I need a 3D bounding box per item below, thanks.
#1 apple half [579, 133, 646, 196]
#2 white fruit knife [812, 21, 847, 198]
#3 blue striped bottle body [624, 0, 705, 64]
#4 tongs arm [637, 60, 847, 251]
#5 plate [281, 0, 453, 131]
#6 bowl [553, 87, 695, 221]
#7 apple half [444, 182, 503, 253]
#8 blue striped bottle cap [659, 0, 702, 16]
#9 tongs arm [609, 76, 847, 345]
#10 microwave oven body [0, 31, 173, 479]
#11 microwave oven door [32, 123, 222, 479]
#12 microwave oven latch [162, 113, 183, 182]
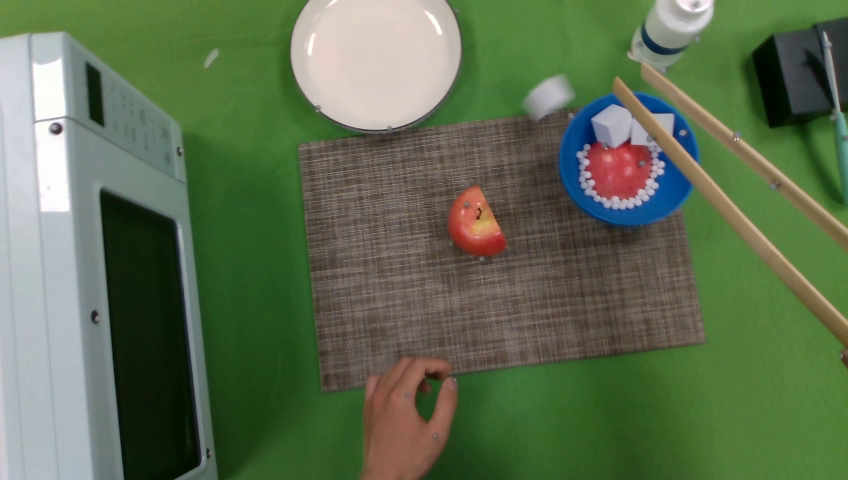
[{"bbox_3d":[0.219,-0.089,0.688,0.081,0.033,0.081,0,82,2],"label":"apple half"},{"bbox_3d":[0.468,-0.146,0.694,0.016,0.027,0.208,-15,99,17],"label":"white fruit knife"},{"bbox_3d":[0.277,-0.255,0.695,0.063,0.121,0.063,0,82,2],"label":"blue striped bottle body"},{"bbox_3d":[0.294,-0.022,0.495,0.051,0.027,0.381,-37,63,-4],"label":"tongs arm"},{"bbox_3d":[-0.068,-0.230,0.742,0.208,0.039,0.207,0,83,1],"label":"plate"},{"bbox_3d":[0.218,-0.089,0.693,0.151,0.077,0.151,0,82,2],"label":"bowl"},{"bbox_3d":[0.050,-0.019,0.691,0.053,0.075,0.080,-28,86,2],"label":"apple half"},{"bbox_3d":[0.275,-0.264,0.644,0.044,0.020,0.044,0,85,1],"label":"blue striped bottle cap"},{"bbox_3d":[0.275,-0.009,0.494,0.028,0.028,0.383,-31,62,-5],"label":"tongs arm"},{"bbox_3d":[-0.427,0.077,0.596,0.326,0.261,0.440,-10,83,0],"label":"microwave oven body"},{"bbox_3d":[-0.275,0.093,0.585,0.039,0.244,0.354,-10,82,1],"label":"microwave oven door"},{"bbox_3d":[-0.306,-0.107,0.713,0.030,0.029,0.079,-10,83,0],"label":"microwave oven latch"}]
